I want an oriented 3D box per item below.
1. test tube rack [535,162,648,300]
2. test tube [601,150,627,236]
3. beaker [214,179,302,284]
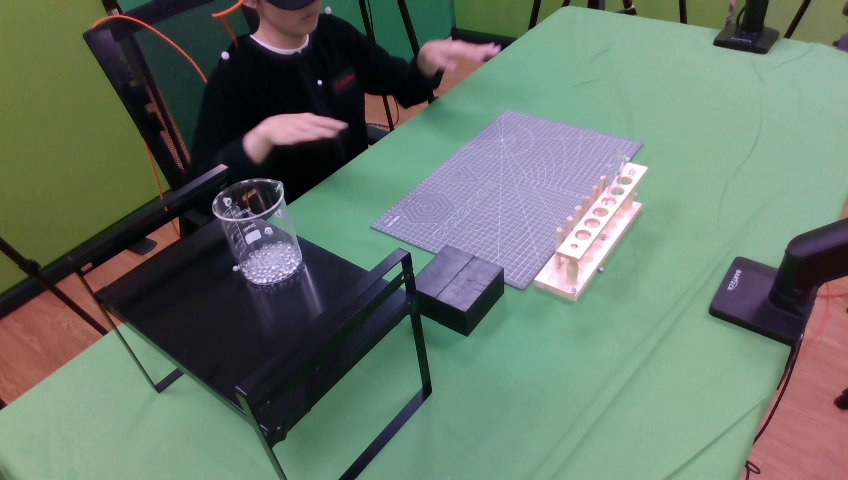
[{"bbox_3d":[0.257,-0.024,0.916,0.066,0.085,0.243,22,49,30],"label":"test tube rack"},{"bbox_3d":[0.276,-0.065,0.884,0.017,0.151,0.017,-2,41,2],"label":"test tube"},{"bbox_3d":[-0.178,-0.008,0.675,0.073,0.101,0.084,22,48,30],"label":"beaker"}]
